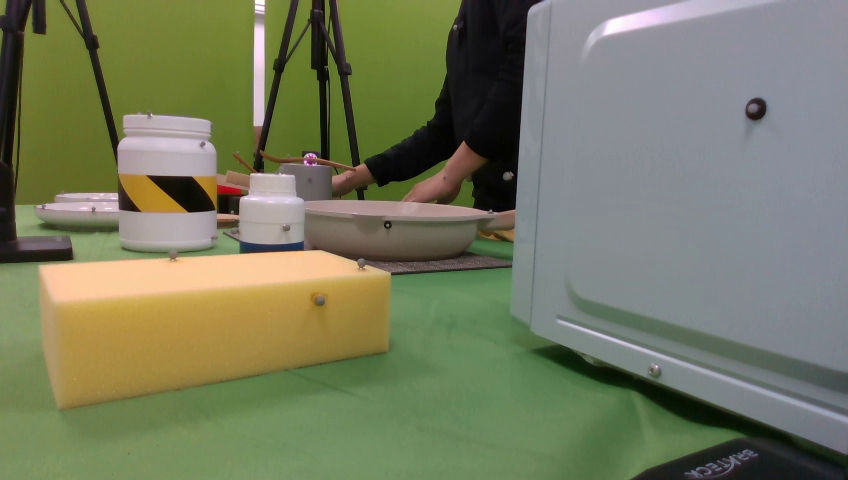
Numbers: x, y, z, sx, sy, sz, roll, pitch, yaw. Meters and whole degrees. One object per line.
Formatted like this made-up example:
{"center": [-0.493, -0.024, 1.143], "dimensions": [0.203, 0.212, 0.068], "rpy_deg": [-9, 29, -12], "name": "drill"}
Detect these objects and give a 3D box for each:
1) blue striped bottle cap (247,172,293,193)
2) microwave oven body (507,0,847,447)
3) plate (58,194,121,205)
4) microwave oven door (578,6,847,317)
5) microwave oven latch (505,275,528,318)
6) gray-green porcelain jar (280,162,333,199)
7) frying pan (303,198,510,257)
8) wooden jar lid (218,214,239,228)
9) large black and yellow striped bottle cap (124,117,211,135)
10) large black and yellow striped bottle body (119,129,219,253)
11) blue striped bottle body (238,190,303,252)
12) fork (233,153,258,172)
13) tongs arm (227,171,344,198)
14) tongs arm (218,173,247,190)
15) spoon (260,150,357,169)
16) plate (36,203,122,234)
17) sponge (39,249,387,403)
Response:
{"center": [-0.152, -0.057, 0.598], "dimensions": [0.044, 0.020, 0.044], "rpy_deg": [3, 7, 0], "name": "blue striped bottle cap"}
{"center": [0.331, -0.042, 0.425], "dimensions": [0.444, 0.260, 0.324], "rpy_deg": [-2, 8, -31], "name": "microwave oven body"}
{"center": [-0.671, -0.074, 1.310], "dimensions": [0.209, 0.038, 0.209], "rpy_deg": [2, 8, 0], "name": "plate"}
{"center": [0.294, -0.067, 0.570], "dimensions": [0.358, 0.243, 0.039], "rpy_deg": [-3, 9, -31], "name": "microwave oven door"}
{"center": [0.100, 0.041, 0.473], "dimensions": [0.079, 0.029, 0.030], "rpy_deg": [-2, 8, -31], "name": "microwave oven latch"}
{"center": [-0.238, -0.092, 1.221], "dimensions": [0.106, 0.126, 0.106], "rpy_deg": [2, 7, 0], "name": "gray-green porcelain jar"}
{"center": [0.051, -0.035, 0.915], "dimensions": [0.487, 0.102, 0.307], "rpy_deg": [-5, 7, 11], "name": "frying pan"}
{"center": [-0.404, -0.037, 1.169], "dimensions": [0.108, 0.020, 0.108], "rpy_deg": [3, 7, 0], "name": "wooden jar lid"}
{"center": [-0.366, -0.163, 0.866], "dimensions": [0.115, 0.019, 0.115], "rpy_deg": [3, 7, 0], "name": "large black and yellow striped bottle cap"}
{"center": [-0.367, -0.080, 0.876], "dimensions": [0.131, 0.184, 0.130], "rpy_deg": [2, 7, 0], "name": "large black and yellow striped bottle body"}
{"center": [-0.153, -0.007, 0.605], "dimensions": [0.063, 0.120, 0.063], "rpy_deg": [2, 7, 0], "name": "blue striped bottle body"}
{"center": [-0.396, -0.143, 1.486], "dimensions": [0.028, 0.018, 0.208], "rpy_deg": [20, -26, 45], "name": "fork"}
{"center": [-0.270, -0.103, 1.379], "dimensions": [0.387, 0.026, 0.050], "rpy_deg": [11, -3, -40], "name": "tongs arm"}
{"center": [-0.318, -0.110, 1.448], "dimensions": [0.389, 0.027, 0.028], "rpy_deg": [11, -7, -26], "name": "tongs arm"}
{"center": [-0.231, -0.162, 1.221], "dimensions": [0.194, 0.021, 0.041], "rpy_deg": [3, 3, -15], "name": "spoon"}
{"center": [-0.571, -0.040, 1.083], "dimensions": [0.208, 0.039, 0.207], "rpy_deg": [2, 8, 0], "name": "plate"}
{"center": [-0.142, 0.047, 0.420], "dimensions": [0.208, 0.061, 0.117], "rpy_deg": [-3, 8, -36], "name": "sponge"}
